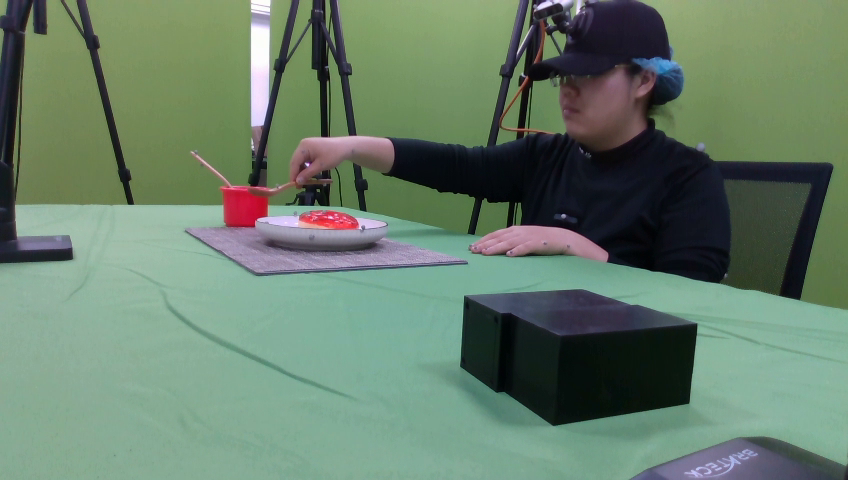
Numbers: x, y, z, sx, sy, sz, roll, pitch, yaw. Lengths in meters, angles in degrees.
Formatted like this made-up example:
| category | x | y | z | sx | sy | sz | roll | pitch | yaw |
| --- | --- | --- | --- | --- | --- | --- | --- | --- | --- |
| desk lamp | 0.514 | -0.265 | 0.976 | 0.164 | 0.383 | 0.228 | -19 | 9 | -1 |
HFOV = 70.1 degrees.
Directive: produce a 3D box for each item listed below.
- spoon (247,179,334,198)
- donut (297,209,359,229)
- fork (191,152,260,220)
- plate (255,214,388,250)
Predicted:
| category | x | y | z | sx | sy | sz | roll | pitch | yaw |
| --- | --- | --- | --- | --- | --- | --- | --- | --- | --- |
| spoon | -0.237 | -0.099 | 1.106 | 0.041 | 0.021 | 0.194 | -1 | 13 | 40 |
| donut | -0.151 | -0.023 | 0.955 | 0.099 | 0.048 | 0.099 | 5 | 7 | 0 |
| fork | -0.386 | -0.104 | 1.191 | 0.207 | 0.018 | 0.028 | 46 | 15 | 5 |
| plate | -0.161 | -0.013 | 0.961 | 0.209 | 0.038 | 0.209 | 2 | 7 | 0 |
